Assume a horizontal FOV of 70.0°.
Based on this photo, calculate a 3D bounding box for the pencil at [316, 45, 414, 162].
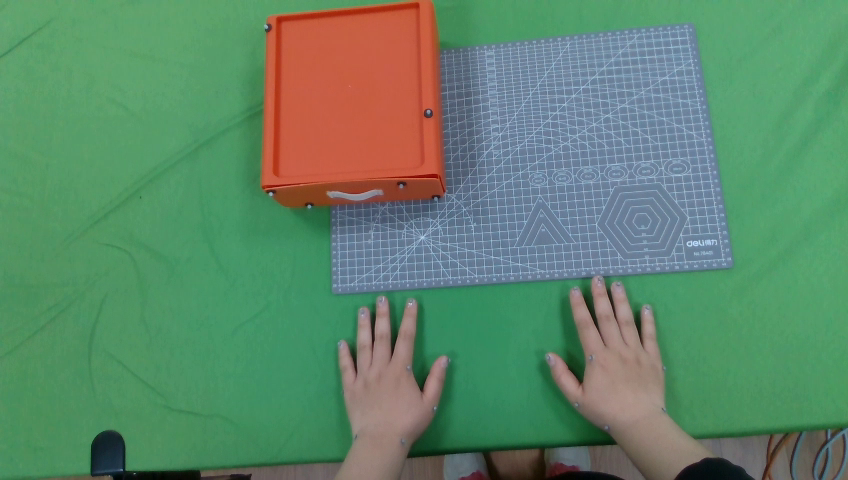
[{"bbox_3d":[-0.072,-0.166,0.734,0.012,0.012,0.193,-39,79,-2],"label":"pencil"}]

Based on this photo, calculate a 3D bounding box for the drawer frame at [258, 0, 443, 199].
[{"bbox_3d":[-0.084,-0.159,0.706,0.201,0.083,0.212,-5,77,7],"label":"drawer frame"}]

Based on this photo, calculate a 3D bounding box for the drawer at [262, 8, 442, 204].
[{"bbox_3d":[-0.082,-0.153,0.706,0.194,0.073,0.210,-4,76,7],"label":"drawer"}]
